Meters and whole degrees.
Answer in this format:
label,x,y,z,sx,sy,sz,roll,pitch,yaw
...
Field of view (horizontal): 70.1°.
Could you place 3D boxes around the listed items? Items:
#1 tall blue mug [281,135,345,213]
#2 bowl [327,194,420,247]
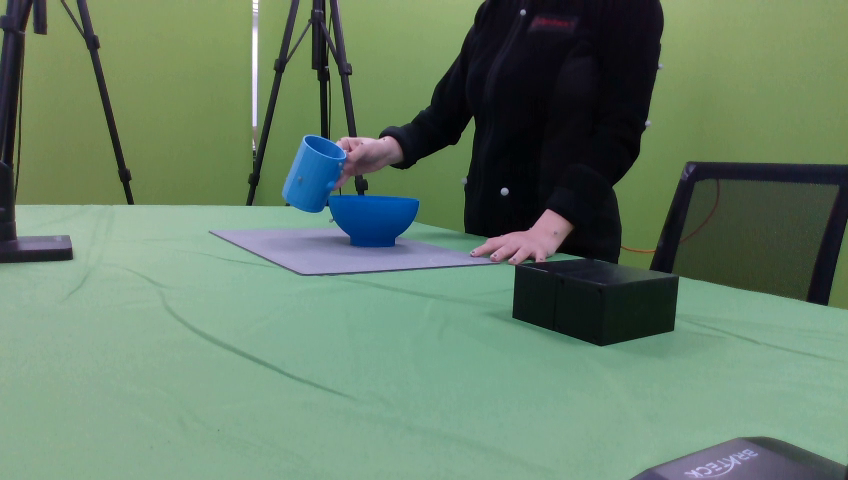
label,x,y,z,sx,sy,sz,roll,pitch,yaw
tall blue mug,-0.187,-0.118,1.036,0.078,0.108,0.107,23,24,-8
bowl,-0.083,-0.032,0.987,0.151,0.077,0.151,2,7,0
